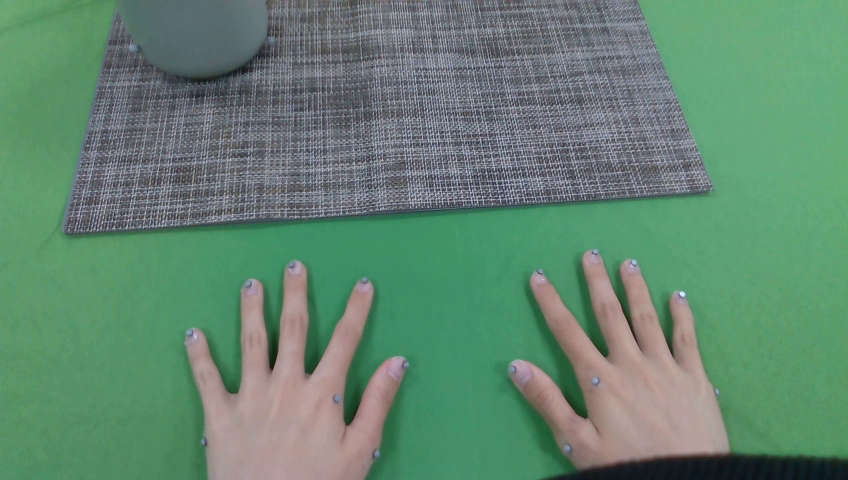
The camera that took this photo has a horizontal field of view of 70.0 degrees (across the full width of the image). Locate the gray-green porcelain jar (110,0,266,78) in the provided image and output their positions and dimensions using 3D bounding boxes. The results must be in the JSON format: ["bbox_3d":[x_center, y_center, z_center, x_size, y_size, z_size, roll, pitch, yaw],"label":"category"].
[{"bbox_3d":[-0.176,-0.192,0.439,0.106,0.127,0.105,1,59,-1],"label":"gray-green porcelain jar"}]
